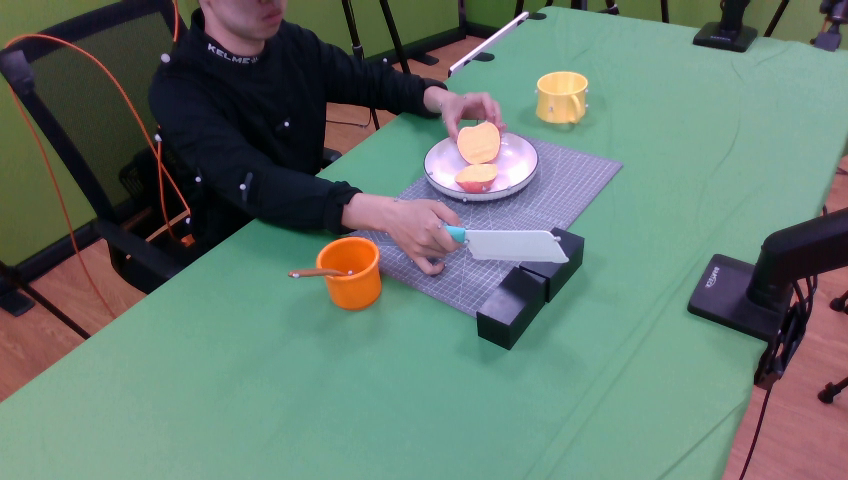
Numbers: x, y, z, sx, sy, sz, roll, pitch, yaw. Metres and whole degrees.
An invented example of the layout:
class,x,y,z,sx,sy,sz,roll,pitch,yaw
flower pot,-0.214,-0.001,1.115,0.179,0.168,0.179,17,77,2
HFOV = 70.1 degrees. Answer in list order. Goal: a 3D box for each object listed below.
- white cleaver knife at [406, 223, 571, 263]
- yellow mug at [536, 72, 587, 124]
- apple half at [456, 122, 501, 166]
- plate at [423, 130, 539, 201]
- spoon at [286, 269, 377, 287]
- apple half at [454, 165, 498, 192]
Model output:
class,x,y,z,sx,sy,sz,roll,pitch,yaw
white cleaver knife,0.078,0.007,0.867,0.284,0.066,0.021,5,45,46
yellow mug,0.285,-0.281,1.222,0.100,0.064,0.130,-16,42,-9
apple half,0.103,-0.172,1.102,0.080,0.053,0.074,-16,82,9
plate,0.103,-0.132,1.092,0.209,0.038,0.208,-4,40,4
spoon,-0.125,0.049,0.831,0.041,0.195,0.021,22,92,28
apple half,0.094,-0.103,1.051,0.081,0.033,0.081,-9,27,5
